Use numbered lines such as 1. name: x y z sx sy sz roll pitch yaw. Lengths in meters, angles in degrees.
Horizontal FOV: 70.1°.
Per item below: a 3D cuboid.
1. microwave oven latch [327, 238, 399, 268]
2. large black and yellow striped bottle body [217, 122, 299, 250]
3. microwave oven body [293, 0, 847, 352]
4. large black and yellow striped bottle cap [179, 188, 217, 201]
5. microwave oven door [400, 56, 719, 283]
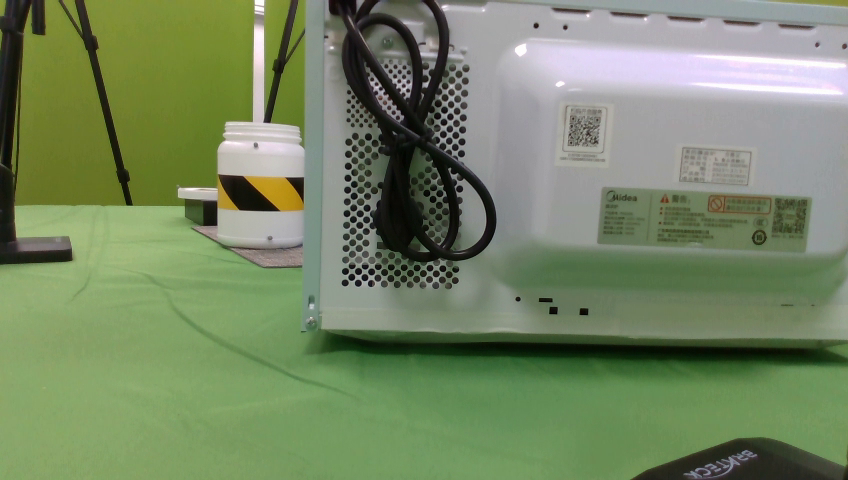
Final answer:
1. microwave oven latch: -0.069 0.015 0.694 0.079 0.029 0.030 3 7 -3
2. large black and yellow striped bottle body: -0.250 -0.084 0.931 0.131 0.184 0.130 2 7 0
3. microwave oven body: 0.122 -0.055 0.550 0.442 0.260 0.325 3 7 -5
4. large black and yellow striped bottle cap: -0.434 -0.093 1.226 0.115 0.019 0.115 3 9 0
5. microwave oven door: 0.155 -0.077 0.698 0.356 0.243 0.039 2 8 -5
